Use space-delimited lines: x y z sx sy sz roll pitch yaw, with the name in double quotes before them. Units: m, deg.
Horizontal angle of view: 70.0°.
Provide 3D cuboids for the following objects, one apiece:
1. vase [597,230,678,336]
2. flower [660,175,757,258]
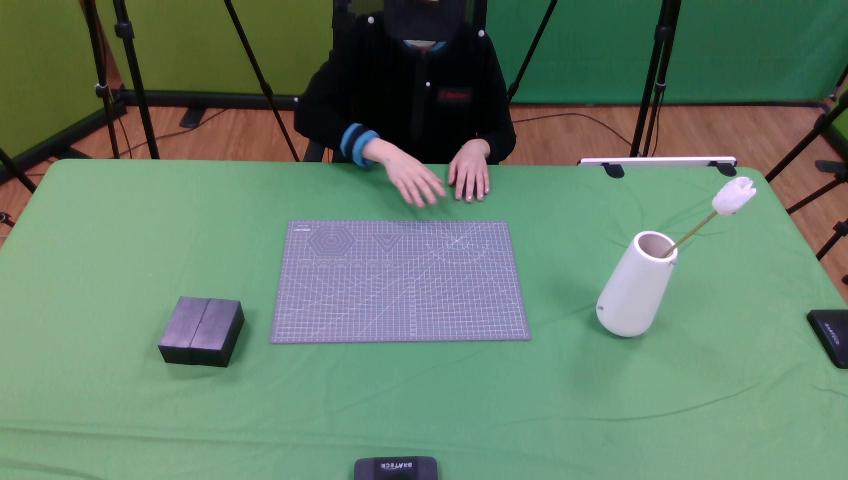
"vase" 0.360 0.077 1.026 0.098 0.201 0.097 1 47 -1
"flower" 0.385 0.024 0.965 0.038 0.363 0.044 38 47 7
